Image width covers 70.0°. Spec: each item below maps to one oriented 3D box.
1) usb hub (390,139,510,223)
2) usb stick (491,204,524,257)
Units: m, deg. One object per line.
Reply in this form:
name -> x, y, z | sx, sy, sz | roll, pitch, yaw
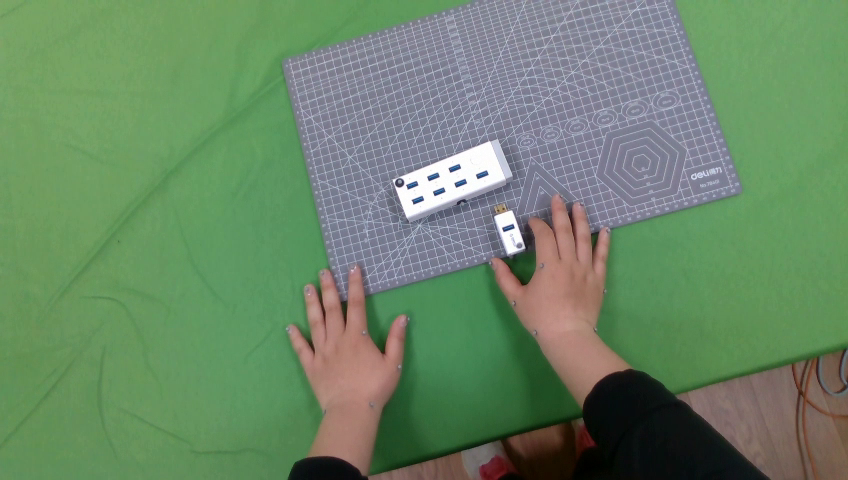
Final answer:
usb hub -> 0.028, -0.065, 0.666 | 0.125, 0.025, 0.049 | -21, 79, 3
usb stick -> 0.087, -0.013, 0.650 | 0.021, 0.027, 0.059 | -21, 75, 5
